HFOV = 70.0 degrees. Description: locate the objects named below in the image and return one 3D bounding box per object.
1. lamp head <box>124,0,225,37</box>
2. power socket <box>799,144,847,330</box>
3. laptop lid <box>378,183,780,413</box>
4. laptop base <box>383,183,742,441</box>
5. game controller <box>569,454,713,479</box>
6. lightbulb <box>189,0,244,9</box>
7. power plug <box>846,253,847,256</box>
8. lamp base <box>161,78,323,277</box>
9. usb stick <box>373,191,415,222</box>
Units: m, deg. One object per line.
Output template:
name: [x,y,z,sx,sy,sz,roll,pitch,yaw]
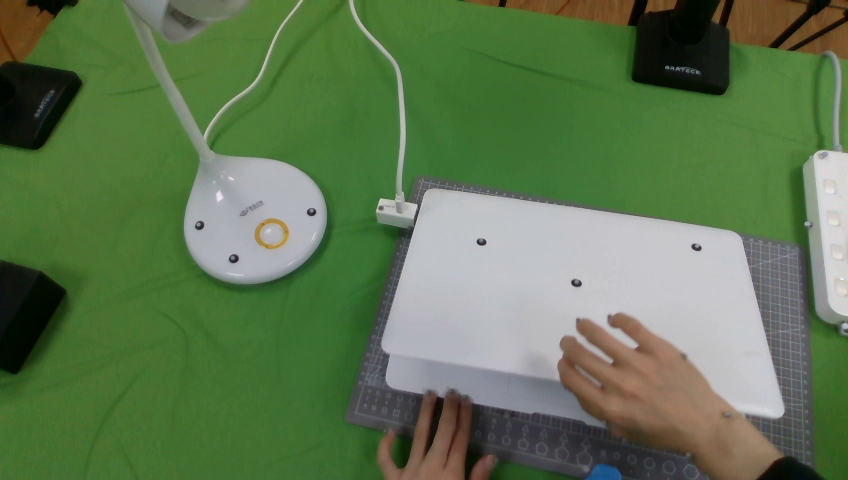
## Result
lamp head: [-0.165,-0.198,0.353,0.123,0.112,0.112,37,68,-7]
power socket: [0.463,-0.012,0.669,0.072,0.033,0.225,10,64,5]
laptop lid: [0.150,0.039,0.603,0.356,0.013,0.240,10,46,7]
laptop base: [0.150,0.066,0.644,0.354,0.023,0.234,9,67,5]
game controller: [0.199,0.250,0.536,0.155,0.052,0.096,11,62,6]
lightbulb: [-0.135,-0.189,0.348,0.059,0.059,0.108,-28,105,-12]
power plug: [0.486,0.012,0.632,0.072,0.053,0.035,20,65,10]
lamp base: [-0.207,-0.073,0.630,0.178,0.182,0.160,37,69,21]
usb stick: [-0.027,-0.036,0.683,0.059,0.027,0.021,11,60,5]
